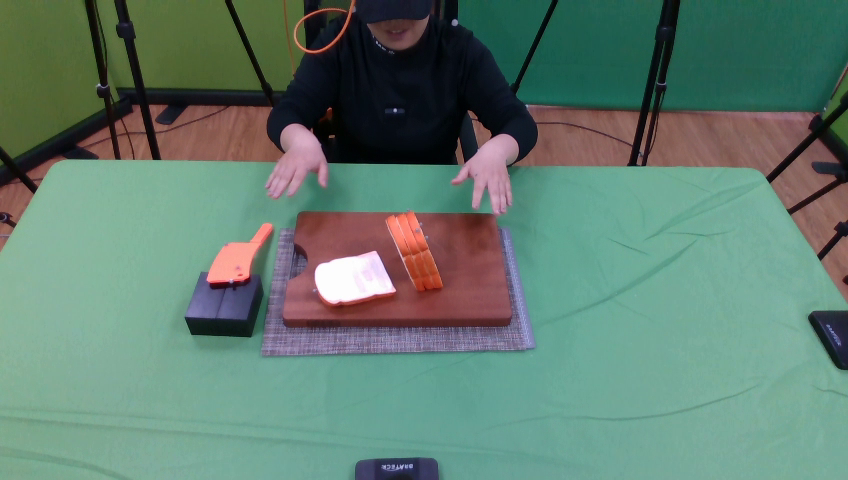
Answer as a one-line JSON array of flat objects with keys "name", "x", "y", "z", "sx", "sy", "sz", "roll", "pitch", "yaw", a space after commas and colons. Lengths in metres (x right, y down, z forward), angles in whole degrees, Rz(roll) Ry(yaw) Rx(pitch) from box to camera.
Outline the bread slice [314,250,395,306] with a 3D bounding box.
[{"name": "bread slice", "x": -0.130, "y": 0.071, "z": 1.077, "sx": 0.132, "sy": 0.019, "sz": 0.104, "roll": -11, "pitch": 49, "yaw": -20}]

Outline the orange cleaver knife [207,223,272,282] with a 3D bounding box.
[{"name": "orange cleaver knife", "x": -0.337, "y": 0.020, "z": 1.122, "sx": 0.077, "sy": 0.012, "sz": 0.210, "roll": 3, "pitch": 30, "yaw": 3}]

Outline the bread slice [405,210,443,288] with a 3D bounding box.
[{"name": "bread slice", "x": -0.003, "y": 0.013, "z": 1.073, "sx": 0.018, "sy": 0.135, "sz": 0.106, "roll": -22, "pitch": 50, "yaw": -2}]
